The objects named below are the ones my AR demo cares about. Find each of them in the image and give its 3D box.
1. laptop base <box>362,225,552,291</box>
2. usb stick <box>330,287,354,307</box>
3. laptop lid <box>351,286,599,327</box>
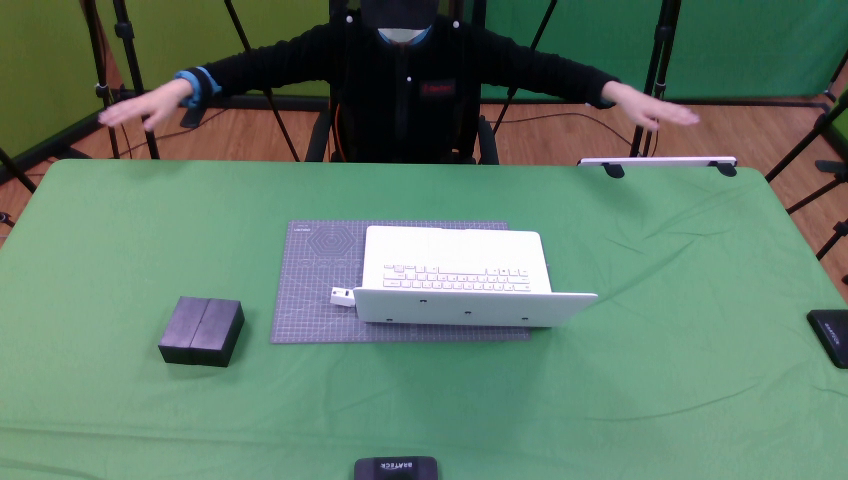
[{"bbox_3d":[0.061,0.063,1.145,0.354,0.023,0.234,2,43,-3],"label":"laptop base"},{"bbox_3d":[-0.135,0.101,1.068,0.059,0.027,0.021,13,43,-9],"label":"usb stick"},{"bbox_3d":[0.068,0.109,0.952,0.357,0.242,0.013,2,71,-4],"label":"laptop lid"}]
